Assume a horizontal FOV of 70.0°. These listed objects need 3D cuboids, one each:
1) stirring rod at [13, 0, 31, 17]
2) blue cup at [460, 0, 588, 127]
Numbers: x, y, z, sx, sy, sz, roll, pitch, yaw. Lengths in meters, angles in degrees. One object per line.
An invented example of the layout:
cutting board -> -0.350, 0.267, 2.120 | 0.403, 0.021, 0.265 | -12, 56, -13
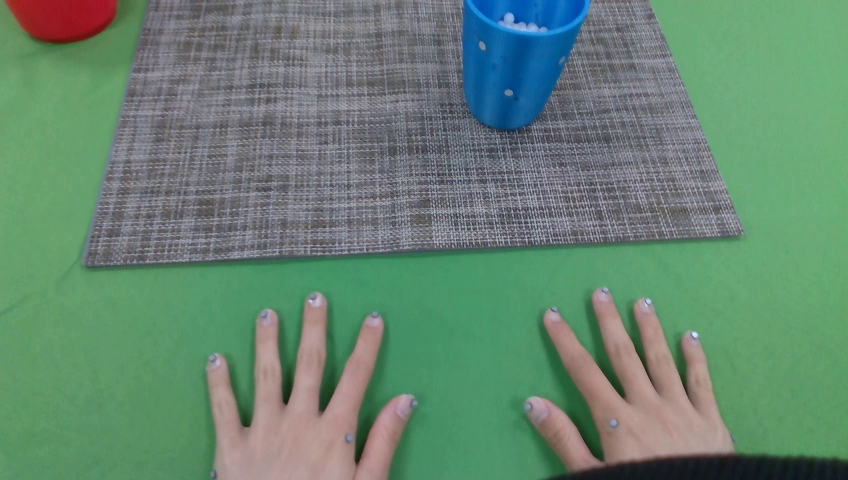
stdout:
stirring rod -> -0.282, -0.244, 0.480 | 0.176, 0.006, 0.014 | -39, 63, 21
blue cup -> 0.064, -0.138, 0.443 | 0.093, 0.101, 0.092 | 2, 58, -2
